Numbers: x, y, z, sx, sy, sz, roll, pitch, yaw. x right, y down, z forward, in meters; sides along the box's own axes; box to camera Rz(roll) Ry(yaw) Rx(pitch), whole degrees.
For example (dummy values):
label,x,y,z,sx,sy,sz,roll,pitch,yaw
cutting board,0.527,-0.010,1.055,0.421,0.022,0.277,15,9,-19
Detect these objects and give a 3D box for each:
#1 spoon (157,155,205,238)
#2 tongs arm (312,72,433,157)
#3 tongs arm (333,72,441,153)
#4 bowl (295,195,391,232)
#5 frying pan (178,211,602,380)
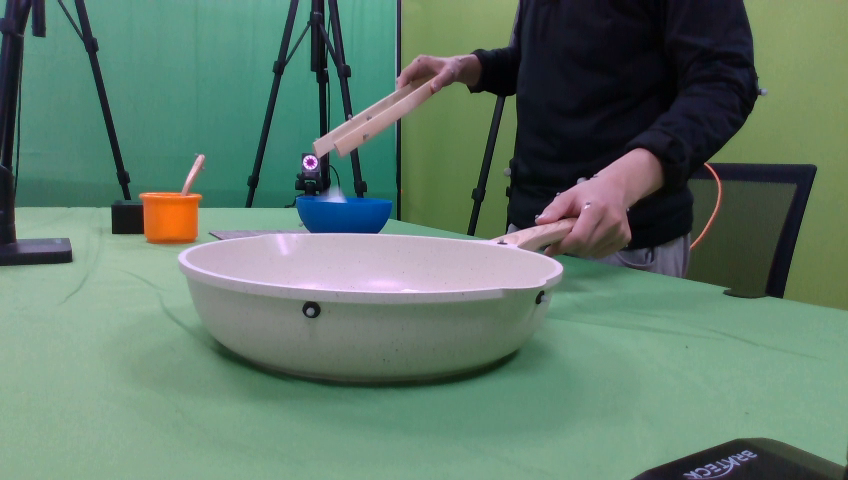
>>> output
label,x,y,z,sx,sy,sz,roll,pitch,yaw
spoon,-0.392,-0.076,0.998,0.041,0.193,0.021,2,-37,5
tongs arm,-0.072,-0.225,1.044,0.050,0.026,0.385,-7,25,28
tongs arm,-0.049,-0.227,1.030,0.028,0.028,0.388,-9,23,32
bowl,-0.127,-0.027,0.946,0.151,0.077,0.151,2,7,0
frying pan,0.035,0.019,0.556,0.490,0.102,0.305,-16,18,-42
